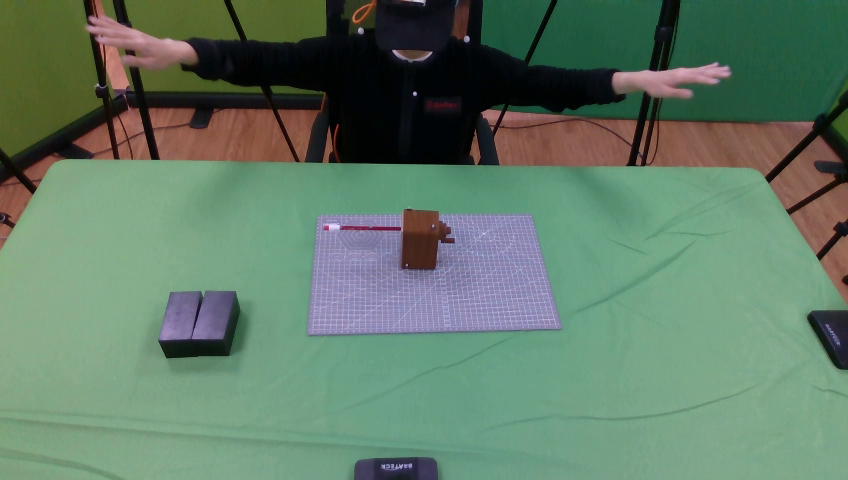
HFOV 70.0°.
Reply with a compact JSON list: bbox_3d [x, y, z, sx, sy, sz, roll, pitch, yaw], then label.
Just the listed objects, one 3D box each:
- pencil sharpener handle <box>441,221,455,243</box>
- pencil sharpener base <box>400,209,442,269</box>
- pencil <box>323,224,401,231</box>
[{"bbox_3d":[0.046,-0.011,1.130,0.030,0.068,0.036,2,65,-2],"label":"pencil sharpener handle"},{"bbox_3d":[-0.006,0.000,1.134,0.077,0.107,0.061,2,46,-2],"label":"pencil sharpener base"},{"bbox_3d":[-0.088,-0.021,1.113,0.194,0.012,0.012,2,46,-2],"label":"pencil"}]
